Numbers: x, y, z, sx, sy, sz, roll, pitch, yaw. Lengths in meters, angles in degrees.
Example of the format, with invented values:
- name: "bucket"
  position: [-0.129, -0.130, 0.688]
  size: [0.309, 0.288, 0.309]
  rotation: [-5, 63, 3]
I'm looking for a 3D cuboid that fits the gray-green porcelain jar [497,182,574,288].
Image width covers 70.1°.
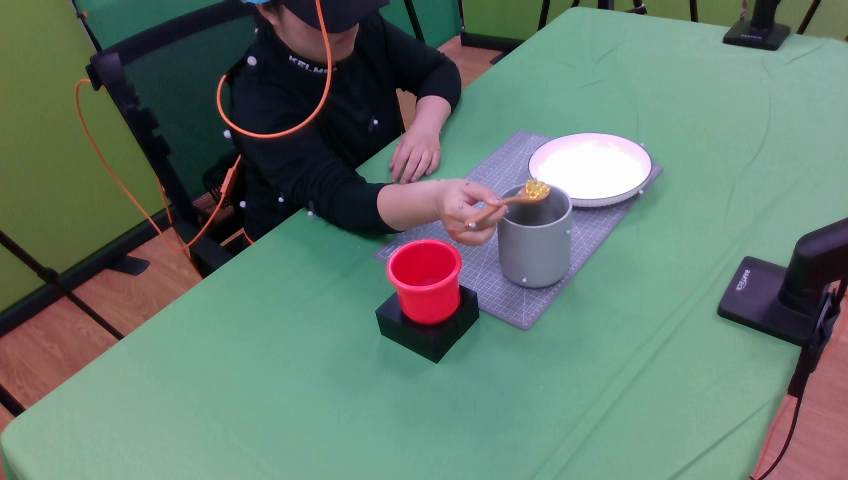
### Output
- name: "gray-green porcelain jar"
  position: [0.160, -0.003, 0.870]
  size: [0.106, 0.127, 0.105]
  rotation: [-5, 40, 5]

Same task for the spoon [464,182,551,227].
- name: "spoon"
  position: [0.107, -0.047, 0.778]
  size: [0.041, 0.021, 0.195]
  rotation: [20, 26, 34]

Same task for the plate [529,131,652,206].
- name: "plate"
  position: [0.287, -0.121, 1.056]
  size: [0.207, 0.039, 0.206]
  rotation: [-5, 40, 5]
